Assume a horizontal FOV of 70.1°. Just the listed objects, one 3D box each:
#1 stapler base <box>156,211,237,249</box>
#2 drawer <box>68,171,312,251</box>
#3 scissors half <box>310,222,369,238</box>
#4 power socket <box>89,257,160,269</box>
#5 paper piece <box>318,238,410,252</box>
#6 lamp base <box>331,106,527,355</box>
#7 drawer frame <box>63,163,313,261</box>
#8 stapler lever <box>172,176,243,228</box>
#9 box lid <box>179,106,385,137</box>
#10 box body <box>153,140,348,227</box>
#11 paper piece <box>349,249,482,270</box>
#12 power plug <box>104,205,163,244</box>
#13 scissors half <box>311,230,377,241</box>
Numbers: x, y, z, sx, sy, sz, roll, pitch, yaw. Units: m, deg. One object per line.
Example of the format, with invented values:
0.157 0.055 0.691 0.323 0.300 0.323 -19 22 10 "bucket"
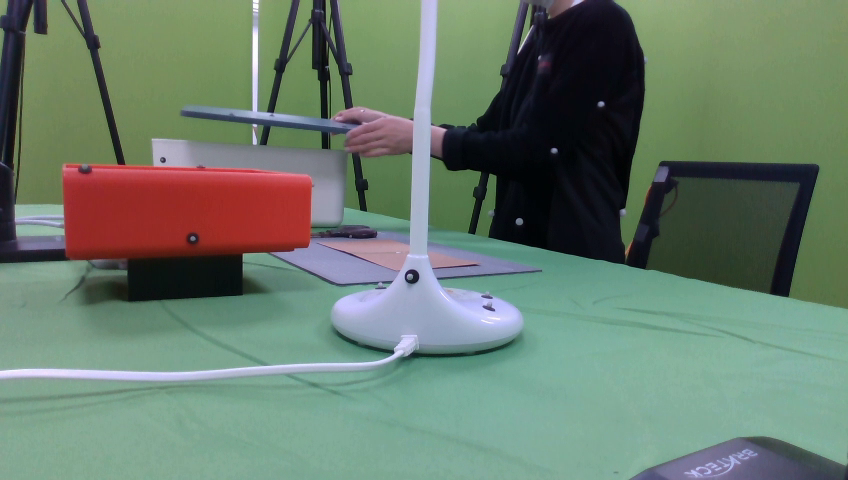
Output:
-0.227 -0.017 0.624 0.041 0.024 0.130 19 10 -2 "stapler base"
-0.247 -0.037 0.629 0.213 0.073 0.193 -2 9 -30 "drawer"
-0.172 -0.014 1.062 0.176 0.013 0.040 -10 31 -43 "scissors half"
-0.408 0.004 0.793 0.072 0.032 0.225 -2 8 -38 "power socket"
-0.083 0.008 0.951 0.136 0.004 0.134 -1 8 -31 "paper piece"
0.006 -0.012 0.478 0.161 0.180 0.179 2 10 2 "lamp base"
-0.248 -0.036 0.626 0.215 0.082 0.200 -3 9 -31 "drawer frame"
-0.217 -0.041 0.618 0.027 0.040 0.118 19 11 -2 "stapler lever"
-0.277 -0.233 1.190 0.373 0.015 0.262 2 14 -20 "box lid"
-0.357 -0.119 1.264 0.365 0.160 0.253 0 7 -18 "box body"
-0.013 0.026 0.842 0.139 0.008 0.135 0 11 -32 "paper piece"
-0.390 -0.021 0.815 0.073 0.052 0.035 -1 7 -27 "power plug"
-0.162 -0.004 1.048 0.176 0.013 0.040 1 31 -28 "scissors half"
